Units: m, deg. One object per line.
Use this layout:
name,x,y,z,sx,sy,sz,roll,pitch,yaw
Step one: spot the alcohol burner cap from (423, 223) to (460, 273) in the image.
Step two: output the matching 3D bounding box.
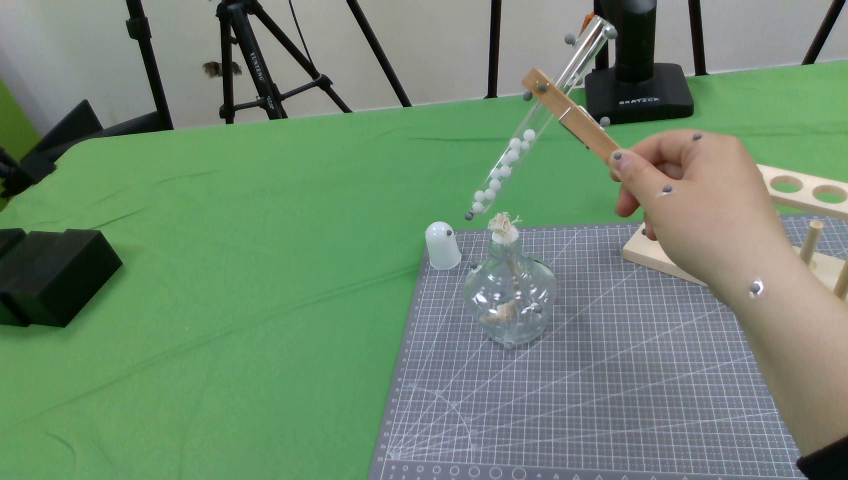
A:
alcohol burner cap,0.016,0.004,0.585,0.034,0.048,0.033,-7,41,7

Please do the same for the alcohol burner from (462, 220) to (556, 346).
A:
alcohol burner,0.066,0.029,0.483,0.078,0.120,0.077,-7,41,7

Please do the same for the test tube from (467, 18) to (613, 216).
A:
test tube,0.073,-0.077,0.404,0.017,0.150,0.017,29,22,-12

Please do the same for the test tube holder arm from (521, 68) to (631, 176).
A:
test tube holder arm,0.097,-0.075,0.388,0.087,0.015,0.010,47,20,7

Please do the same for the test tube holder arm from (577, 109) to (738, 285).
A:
test tube holder arm,0.128,-0.043,0.383,0.015,0.013,0.177,-46,73,20

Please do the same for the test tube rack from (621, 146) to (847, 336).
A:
test tube rack,0.282,0.004,0.471,0.240,0.086,0.066,22,52,36
